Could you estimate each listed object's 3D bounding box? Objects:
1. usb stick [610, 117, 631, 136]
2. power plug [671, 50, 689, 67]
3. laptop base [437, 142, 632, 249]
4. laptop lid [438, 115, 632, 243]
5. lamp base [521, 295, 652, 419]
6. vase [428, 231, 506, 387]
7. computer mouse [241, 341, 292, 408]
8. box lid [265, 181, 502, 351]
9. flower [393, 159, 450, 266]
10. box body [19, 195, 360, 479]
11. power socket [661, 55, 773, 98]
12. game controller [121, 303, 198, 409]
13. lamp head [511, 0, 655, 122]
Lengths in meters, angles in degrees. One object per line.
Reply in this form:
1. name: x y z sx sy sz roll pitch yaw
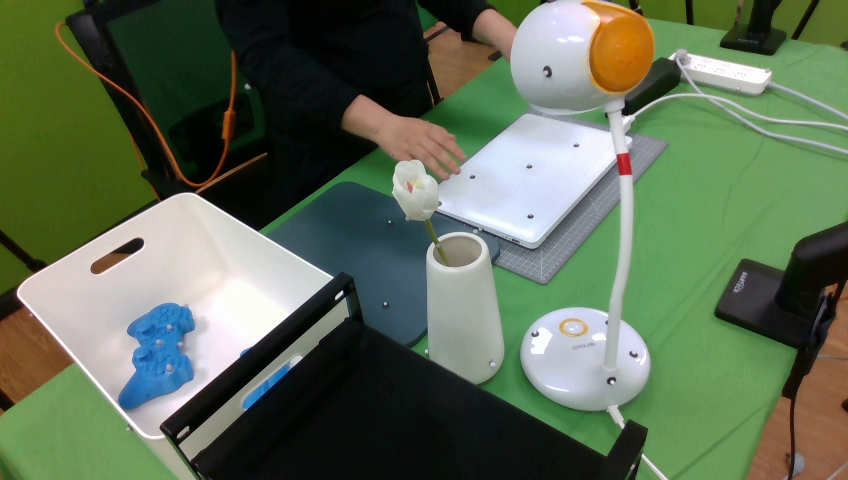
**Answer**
1. usb stick: 0.369 -0.208 1.147 0.021 0.027 0.059 25 55 33
2. power plug: 0.540 -0.379 1.302 0.073 0.053 0.035 -31 46 -23
3. laptop base: 0.193 -0.117 1.087 0.233 0.023 0.355 21 48 34
4. laptop lid: 0.189 -0.126 1.081 0.239 0.013 0.358 23 49 35
5. lamp base: 0.201 0.095 0.710 0.161 0.181 0.178 -16 43 -10
6. vase: 0.050 0.087 0.728 0.098 0.201 0.097 -3 40 3
7. computer mouse: -0.201 0.177 0.776 0.063 0.041 0.116 -11 44 -8
8. box lid: -0.087 0.023 0.971 0.368 0.015 0.264 23 49 31
9. flower: 0.028 0.035 0.664 0.043 0.364 0.038 34 72 29
10. box body: -0.288 0.118 0.772 0.361 0.161 0.255 26 50 33
11. power socket: 0.619 -0.352 1.289 0.225 0.033 0.072 26 52 33
12. game controller: -0.364 0.149 0.828 0.097 0.052 0.154 -13 41 -9
13. lamp head: 0.155 -0.168 0.563 0.113 0.113 0.122 -18 23 -12
